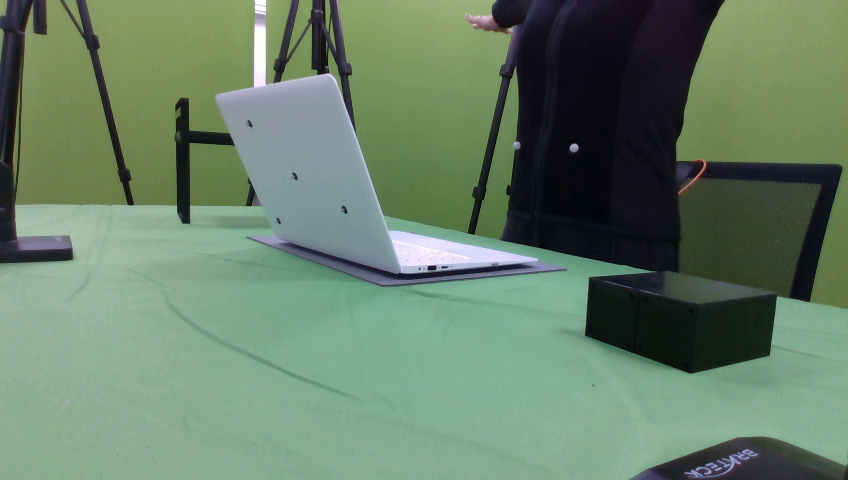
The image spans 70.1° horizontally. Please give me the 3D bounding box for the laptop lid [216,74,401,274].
[{"bbox_3d":[-0.164,-0.085,0.781,0.013,0.242,0.355,-32,27,-30],"label":"laptop lid"}]

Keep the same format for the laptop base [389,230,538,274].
[{"bbox_3d":[-0.037,0.013,0.895,0.237,0.023,0.352,1,7,-38],"label":"laptop base"}]
